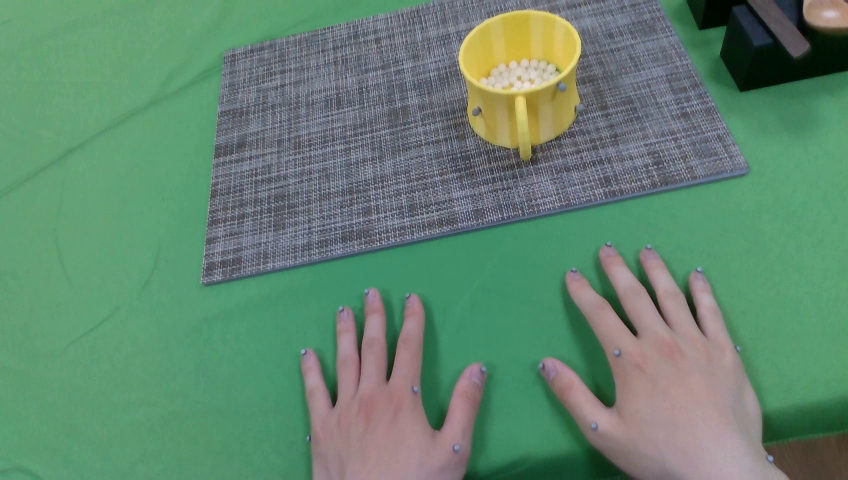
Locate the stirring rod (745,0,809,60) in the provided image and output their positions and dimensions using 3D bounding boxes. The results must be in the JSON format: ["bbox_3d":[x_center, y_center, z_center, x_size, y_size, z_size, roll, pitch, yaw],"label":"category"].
[{"bbox_3d":[0.267,-0.210,0.502,0.014,0.006,0.174,-35,51,30],"label":"stirring rod"}]

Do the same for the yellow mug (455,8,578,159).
[{"bbox_3d":[0.080,-0.127,0.512,0.100,0.064,0.129,-5,58,10],"label":"yellow mug"}]

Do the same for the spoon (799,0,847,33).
[{"bbox_3d":[0.307,-0.227,0.499,0.041,0.022,0.192,-6,55,5],"label":"spoon"}]
